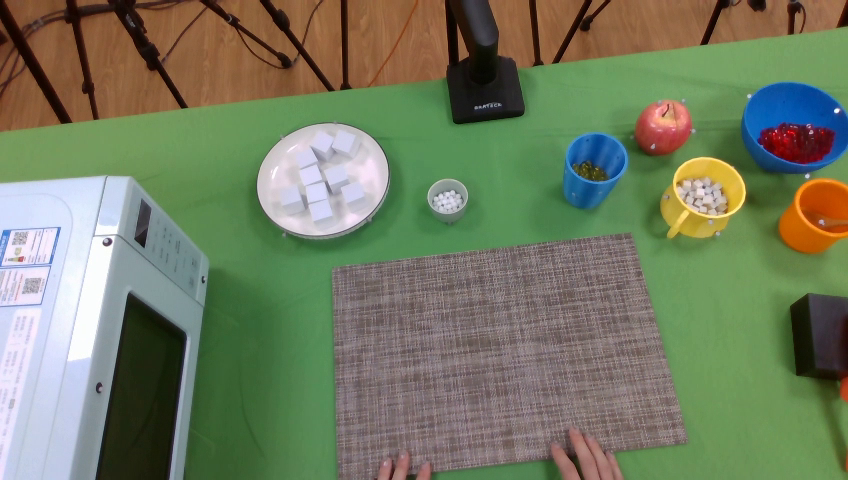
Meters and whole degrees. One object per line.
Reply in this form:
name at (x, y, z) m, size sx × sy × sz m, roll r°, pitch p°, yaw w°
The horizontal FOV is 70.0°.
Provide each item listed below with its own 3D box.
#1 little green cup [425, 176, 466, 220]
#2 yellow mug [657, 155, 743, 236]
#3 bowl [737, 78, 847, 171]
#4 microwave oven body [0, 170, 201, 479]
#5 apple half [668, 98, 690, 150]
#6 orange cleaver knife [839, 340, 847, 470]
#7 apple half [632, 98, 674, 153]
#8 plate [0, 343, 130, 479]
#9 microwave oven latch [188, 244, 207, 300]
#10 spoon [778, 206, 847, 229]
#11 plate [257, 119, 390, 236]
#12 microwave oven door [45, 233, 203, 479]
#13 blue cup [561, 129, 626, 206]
little green cup at (0.034, -0.062, 0.922) m, size 0.061 × 0.039 × 0.061 m, roll -2°, pitch 65°, yaw 4°
yellow mug at (0.390, -0.055, 0.879) m, size 0.099 × 0.064 × 0.130 m, roll 39°, pitch 75°, yaw 19°
bowl at (0.540, -0.158, 0.911) m, size 0.151 × 0.077 × 0.150 m, roll -2°, pitch 66°, yaw 4°
microwave oven body at (-0.480, 0.174, 0.719) m, size 0.326 × 0.262 × 0.438 m, roll -3°, pitch 66°, yaw 2°
apple half at (0.388, -0.176, 0.930) m, size 0.033 × 0.082 × 0.080 m, roll -2°, pitch 65°, yaw 6°
orange cleaver knife at (0.538, 0.177, 0.753) m, size 0.012 × 0.077 × 0.211 m, roll 7°, pitch 95°, yaw 10°
apple half at (0.349, -0.175, 0.934) m, size 0.053 × 0.075 × 0.080 m, roll -2°, pitch 68°, yaw 6°
plate at (-0.464, 0.232, 0.748) m, size 0.209 × 0.038 × 0.207 m, roll -1°, pitch 65°, yaw 2°
microwave oven latch at (-0.333, 0.047, 0.875) m, size 0.030 × 0.030 × 0.078 m, roll -2°, pitch 66°, yaw 2°
spoon at (0.572, -0.024, 0.807) m, size 0.041 × 0.192 × 0.022 m, roll -46°, pitch 114°, yaw -16°
plate at (-0.155, -0.095, 0.949) m, size 0.207 × 0.039 × 0.206 m, roll -1°, pitch 65°, yaw 3°
microwave oven door at (-0.333, 0.201, 0.691) m, size 0.039 × 0.246 × 0.353 m, roll -4°, pitch 65°, yaw 2°
blue cup at (0.241, -0.098, 0.890) m, size 0.092 × 0.101 × 0.092 m, roll -1°, pitch 66°, yaw 3°
